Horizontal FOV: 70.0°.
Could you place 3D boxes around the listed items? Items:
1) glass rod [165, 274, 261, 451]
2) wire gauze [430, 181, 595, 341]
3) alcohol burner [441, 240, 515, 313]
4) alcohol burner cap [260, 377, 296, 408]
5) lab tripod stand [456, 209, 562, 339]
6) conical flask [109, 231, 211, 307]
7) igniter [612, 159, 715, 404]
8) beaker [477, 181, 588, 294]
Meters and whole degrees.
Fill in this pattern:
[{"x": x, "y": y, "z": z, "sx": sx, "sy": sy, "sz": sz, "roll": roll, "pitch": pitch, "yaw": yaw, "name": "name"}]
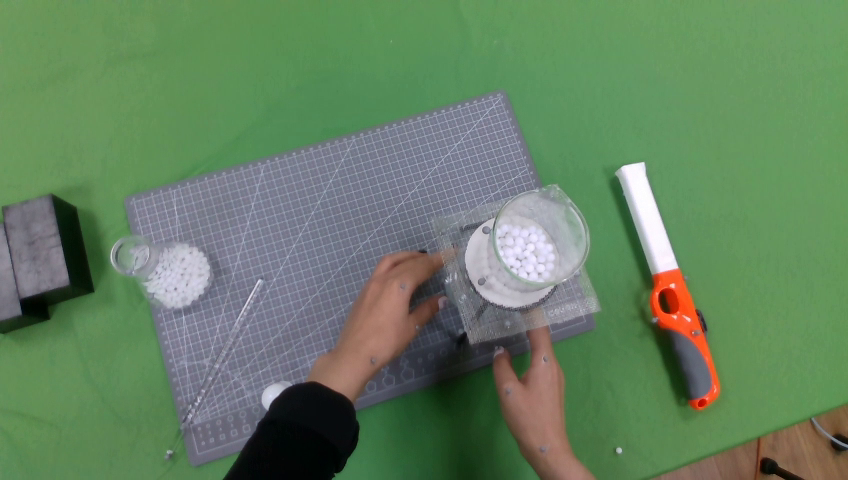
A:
[{"x": -0.219, "y": 0.125, "z": 0.635, "sx": 0.008, "sy": 0.008, "sz": 0.199, "roll": 25, "pitch": 78, "yaw": 2, "name": "glass rod"}, {"x": 0.080, "y": 0.017, "z": 0.544, "sx": 0.125, "sy": 0.011, "sz": 0.121, "roll": -15, "pitch": 82, "yaw": -8, "name": "wire gauze"}, {"x": 0.056, "y": 0.034, "z": 0.616, "sx": 0.078, "sy": 0.119, "sz": 0.077, "roll": 0, "pitch": 79, "yaw": -1, "name": "alcohol burner"}, {"x": -0.150, "y": 0.155, "z": 0.616, "sx": 0.034, "sy": 0.048, "sz": 0.033, "roll": 1, "pitch": 78, "yaw": -4, "name": "alcohol burner cap"}, {"x": 0.076, "y": 0.034, "z": 0.607, "sx": 0.148, "sy": 0.132, "sz": 0.148, "roll": 1, "pitch": 80, "yaw": -3, "name": "lab tripod stand"}, {"x": -0.263, "y": 0.023, "z": 0.595, "sx": 0.075, "sy": 0.122, "sz": 0.075, "roll": 1, "pitch": 77, "yaw": -3, "name": "conical flask"}, {"x": 0.266, "y": 0.042, "z": 0.674, "sx": 0.057, "sy": 0.025, "sz": 0.275, "roll": -12, "pitch": 79, "yaw": -16, "name": "igniter"}, {"x": 0.084, "y": 0.003, "z": 0.498, "sx": 0.074, "sy": 0.100, "sz": 0.083, "roll": 18, "pitch": 78, "yaw": 0, "name": "beaker"}]
